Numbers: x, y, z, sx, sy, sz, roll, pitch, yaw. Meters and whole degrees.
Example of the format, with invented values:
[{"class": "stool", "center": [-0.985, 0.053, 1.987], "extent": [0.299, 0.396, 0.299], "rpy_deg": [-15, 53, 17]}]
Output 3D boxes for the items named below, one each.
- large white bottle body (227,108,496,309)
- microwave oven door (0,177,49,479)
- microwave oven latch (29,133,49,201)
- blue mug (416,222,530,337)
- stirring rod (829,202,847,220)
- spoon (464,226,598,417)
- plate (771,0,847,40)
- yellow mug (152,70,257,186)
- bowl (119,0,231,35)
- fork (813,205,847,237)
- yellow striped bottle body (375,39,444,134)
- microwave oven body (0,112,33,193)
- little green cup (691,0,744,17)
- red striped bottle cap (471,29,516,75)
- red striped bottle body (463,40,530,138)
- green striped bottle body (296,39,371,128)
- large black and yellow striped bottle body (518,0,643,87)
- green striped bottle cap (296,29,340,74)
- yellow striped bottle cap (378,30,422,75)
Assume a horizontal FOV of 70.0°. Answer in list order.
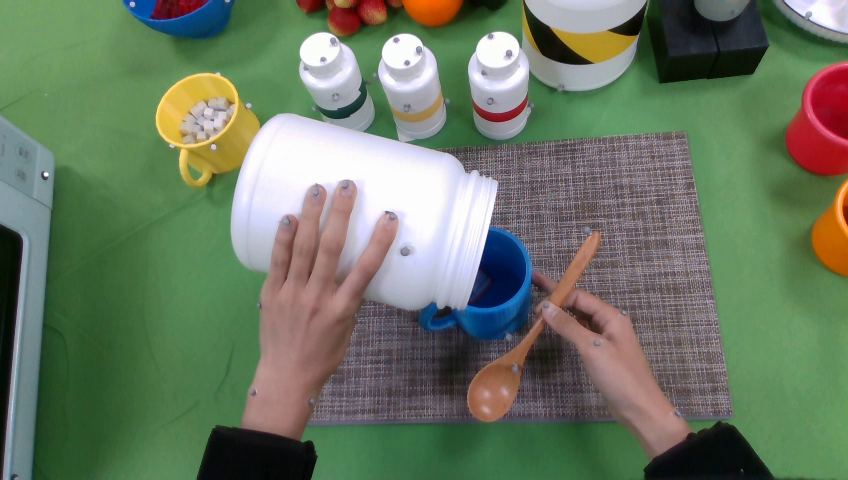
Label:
[{"class": "large white bottle body", "center": [-0.045, -0.020, 0.485], "extent": [0.185, 0.131, 0.130], "rpy_deg": [16, 72, 0]}, {"class": "microwave oven door", "center": [-0.450, 0.080, 0.549], "extent": [0.039, 0.246, 0.353], "rpy_deg": [-12, 68, 4]}, {"class": "microwave oven latch", "center": [-0.469, -0.085, 0.722], "extent": [0.030, 0.030, 0.078], "rpy_deg": [-10, 69, 4]}, {"class": "blue mug", "center": [0.044, 0.049, 0.576], "extent": [0.116, 0.107, 0.081], "rpy_deg": [-31, 67, -4]}, {"class": "stirring rod", "center": [0.404, 0.002, 0.528], "extent": [0.014, 0.006, 0.175], "rpy_deg": [-1, 26, 6]}, {"class": "spoon", "center": [0.095, 0.072, 0.524], "extent": [0.041, 0.021, 0.194], "rpy_deg": [32, 102, 3]}, {"class": "plate", "center": [0.484, -0.308, 0.685], "extent": [0.209, 0.038, 0.207], "rpy_deg": [-3, 70, 7]}, {"class": "yellow mug", "center": [-0.260, -0.126, 0.712], "extent": [0.100, 0.064, 0.130], "rpy_deg": [7, 71, 11]}, {"class": "bowl", "center": [-0.307, -0.322, 0.785], "extent": [0.151, 0.077, 0.150], "rpy_deg": [-3, 69, 7]}, {"class": "fork", "center": [0.433, 0.003, 0.516], "extent": [0.028, 0.019, 0.205], "rpy_deg": [-40, 25, -6]}, {"class": "yellow striped bottle body", "center": [-0.016, -0.173, 0.664], "extent": [0.063, 0.121, 0.062], "rpy_deg": [-3, 68, 8]}, {"class": "microwave oven body", "center": [-0.599, 0.072, 0.579], "extent": [0.326, 0.262, 0.438], "rpy_deg": [-12, 69, 4]}, {"class": "little green cup", "center": [0.314, -0.269, 0.640], "extent": [0.061, 0.039, 0.061], "rpy_deg": [-2, 67, 5]}, {"class": "red striped bottle cap", "center": [0.069, -0.187, 0.600], "extent": [0.044, 0.018, 0.044], "rpy_deg": [-1, 68, 4]}, {"class": "red striped bottle body", "center": [0.078, -0.167, 0.649], "extent": [0.063, 0.121, 0.062], "rpy_deg": [-6, 65, 13]}, {"class": "green striped bottle body", "center": [-0.102, -0.178, 0.679], "extent": [0.063, 0.120, 0.062], "rpy_deg": [-3, 69, 7]}, {"class": "large black and yellow striped bottle body", "center": [0.164, -0.264, 0.638], "extent": [0.130, 0.185, 0.130], "rpy_deg": [-3, 69, 8]}, {"class": "green striped bottle cap", "center": [-0.111, -0.197, 0.631], "extent": [0.044, 0.020, 0.044], "rpy_deg": [-2, 68, 6]}, {"class": "yellow striped bottle cap", "center": [-0.025, -0.191, 0.616], "extent": [0.044, 0.019, 0.044], "rpy_deg": [-2, 68, 5]}]
